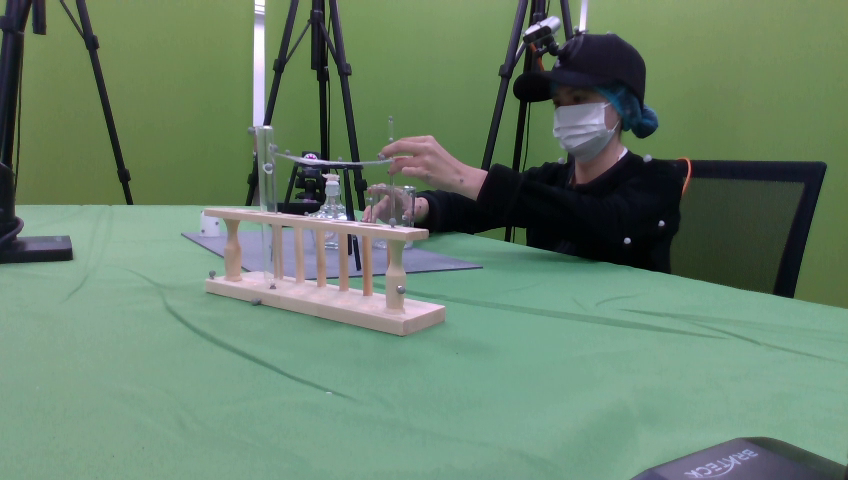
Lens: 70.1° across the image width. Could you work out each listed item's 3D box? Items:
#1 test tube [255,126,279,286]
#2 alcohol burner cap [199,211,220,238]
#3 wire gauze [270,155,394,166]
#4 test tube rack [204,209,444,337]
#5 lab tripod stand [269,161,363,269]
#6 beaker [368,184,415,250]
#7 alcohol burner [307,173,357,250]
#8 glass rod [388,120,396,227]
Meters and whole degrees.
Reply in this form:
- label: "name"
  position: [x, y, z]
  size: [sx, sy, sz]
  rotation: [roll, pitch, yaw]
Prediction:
- label: "test tube"
  position: [-0.147, -0.031, 0.566]
  size: [0.017, 0.150, 0.017]
  rotation: [-1, 8, 0]
- label: "alcohol burner cap"
  position: [-0.356, -0.027, 1.002]
  size: [0.034, 0.048, 0.034]
  rotation: [2, 7, 0]
- label: "wire gauze"
  position: [-0.121, -0.102, 0.785]
  size: [0.122, 0.011, 0.124]
  rotation: [-3, 10, -39]
- label: "test tube rack"
  position: [-0.100, 0.021, 0.565]
  size: [0.241, 0.085, 0.067]
  rotation: [7, 9, 32]
- label: "lab tripod stand"
  position: [-0.125, -0.036, 0.794]
  size: [0.148, 0.131, 0.148]
  rotation: [5, 7, 0]
- label: "beaker"
  position: [-0.051, -0.036, 0.958]
  size: [0.074, 0.100, 0.083]
  rotation: [-1, 9, -24]
- label: "alcohol burner"
  position: [-0.144, -0.045, 0.940]
  size: [0.078, 0.119, 0.078]
  rotation: [1, 8, 0]
- label: "glass rod"
  position: [-0.050, -0.089, 0.958]
  size: [0.008, 0.199, 0.008]
  rotation: [-1, 18, 1]
